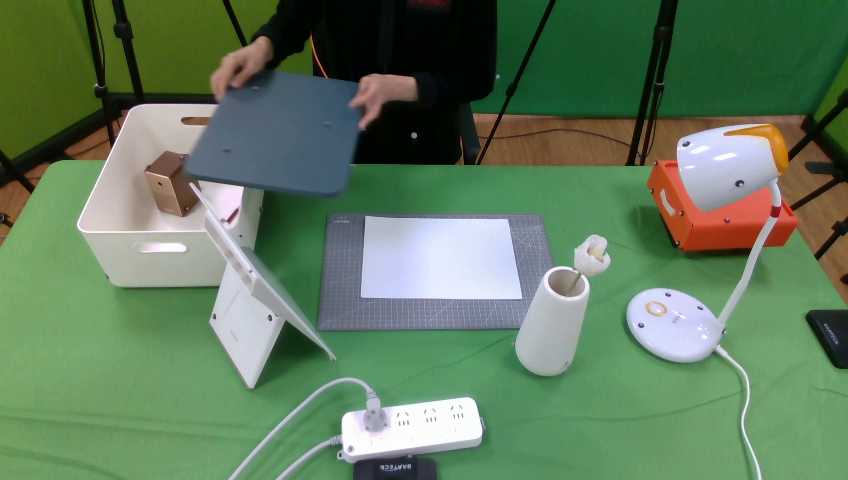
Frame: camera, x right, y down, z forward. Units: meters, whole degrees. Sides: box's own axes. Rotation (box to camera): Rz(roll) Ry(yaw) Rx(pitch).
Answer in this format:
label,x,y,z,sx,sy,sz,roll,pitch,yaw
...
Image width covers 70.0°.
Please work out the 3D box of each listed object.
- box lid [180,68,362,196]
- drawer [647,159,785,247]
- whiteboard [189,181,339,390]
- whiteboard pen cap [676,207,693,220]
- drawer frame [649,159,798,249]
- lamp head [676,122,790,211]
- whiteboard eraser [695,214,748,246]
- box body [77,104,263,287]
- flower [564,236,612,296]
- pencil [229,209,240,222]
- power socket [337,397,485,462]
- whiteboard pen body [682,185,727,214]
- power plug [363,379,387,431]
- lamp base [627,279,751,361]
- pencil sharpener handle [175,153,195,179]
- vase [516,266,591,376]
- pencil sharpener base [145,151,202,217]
label,x,y,z,sx,sy,sz,roll,pitch,yaw
box lid,-0.261,-0.208,1.103,0.263,0.015,0.369,7,43,-4
drawer,0.582,-0.079,1.214,0.212,0.073,0.193,-1,46,-5
whiteboard,-0.292,0.096,0.929,0.144,0.307,0.216,-37,57,-10
whiteboard pen cap,0.524,-0.053,1.216,0.033,0.018,0.018,-28,54,-23
drawer frame,0.588,-0.077,1.219,0.214,0.083,0.200,-2,45,-5
lamp head,0.423,-0.104,0.819,0.122,0.113,0.112,-13,33,40
whiteboard eraser,0.592,-0.019,1.209,0.113,0.042,0.055,12,27,-36
box body,-0.447,-0.088,1.150,0.254,0.161,0.361,-1,46,-5
flower,0.206,0.088,0.893,0.038,0.363,0.044,-17,67,-10
pencil,-0.401,-0.008,1.176,0.012,0.012,0.193,15,44,10
power socket,-0.018,0.285,0.915,0.227,0.033,0.071,-5,46,-8
whiteboard pen body,0.572,-0.081,1.237,0.141,0.017,0.017,-26,54,-25
power plug,-0.072,0.252,0.910,0.035,0.053,0.072,3,45,-1
lamp base,0.459,0.100,1.027,0.178,0.181,0.160,27,51,17
pencil sharpener handle,-0.477,-0.155,1.225,0.036,0.068,0.030,23,48,3
vase,0.208,0.132,0.964,0.098,0.201,0.097,3,46,-3
pencil sharpener base,-0.491,-0.112,1.200,0.061,0.107,0.076,15,47,12
